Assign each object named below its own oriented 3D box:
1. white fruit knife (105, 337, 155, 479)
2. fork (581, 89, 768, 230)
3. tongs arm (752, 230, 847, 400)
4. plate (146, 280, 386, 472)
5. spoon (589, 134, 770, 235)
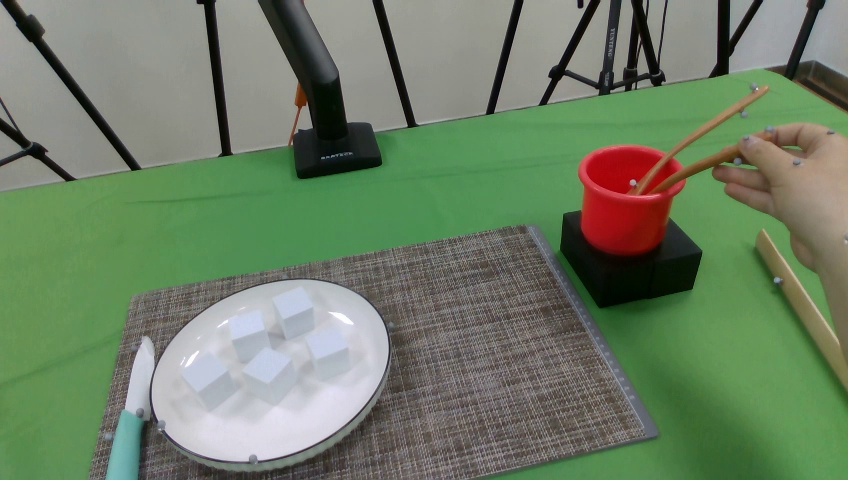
[{"bbox_3d":[-0.253,0.157,0.526,0.027,0.016,0.205,13,29,-25],"label":"white fruit knife"},{"bbox_3d":[0.238,-0.075,0.586,0.207,0.019,0.028,-43,13,18],"label":"fork"},{"bbox_3d":[0.368,0.117,0.513,0.028,0.028,0.383,-2,38,0],"label":"tongs arm"},{"bbox_3d":[-0.136,0.118,0.545,0.207,0.039,0.205,-2,38,2],"label":"plate"},{"bbox_3d":[0.218,-0.046,0.542,0.021,0.194,0.041,47,56,0],"label":"spoon"}]
